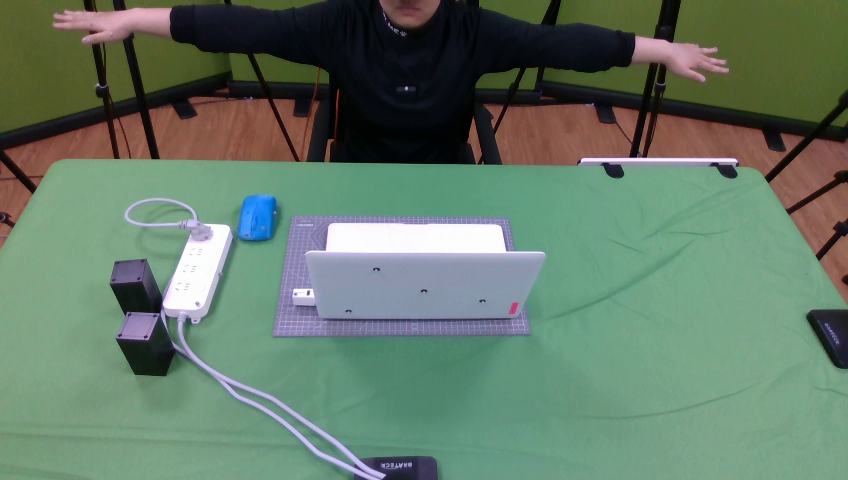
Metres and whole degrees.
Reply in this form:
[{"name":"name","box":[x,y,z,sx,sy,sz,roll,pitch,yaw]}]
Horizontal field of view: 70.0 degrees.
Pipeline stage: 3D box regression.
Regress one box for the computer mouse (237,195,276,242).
[{"name":"computer mouse","box":[-0.333,-0.047,1.207,0.063,0.041,0.116,3,50,-5]}]

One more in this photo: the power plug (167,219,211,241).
[{"name":"power plug","box":[-0.438,-0.017,1.143,0.072,0.053,0.035,10,43,7]}]

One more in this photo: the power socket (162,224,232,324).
[{"name":"power socket","box":[-0.411,0.052,1.106,0.072,0.033,0.225,3,45,-1]}]

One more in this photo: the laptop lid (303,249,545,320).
[{"name":"laptop lid","box":[-0.003,0.076,0.962,0.357,0.242,0.013,1,58,-5]}]

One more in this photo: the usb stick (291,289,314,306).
[{"name":"usb stick","box":[-0.203,0.101,1.067,0.059,0.027,0.021,4,46,-5]}]

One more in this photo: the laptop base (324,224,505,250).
[{"name":"laptop base","box":[-0.014,0.055,1.144,0.355,0.023,0.234,0,43,-4]}]
